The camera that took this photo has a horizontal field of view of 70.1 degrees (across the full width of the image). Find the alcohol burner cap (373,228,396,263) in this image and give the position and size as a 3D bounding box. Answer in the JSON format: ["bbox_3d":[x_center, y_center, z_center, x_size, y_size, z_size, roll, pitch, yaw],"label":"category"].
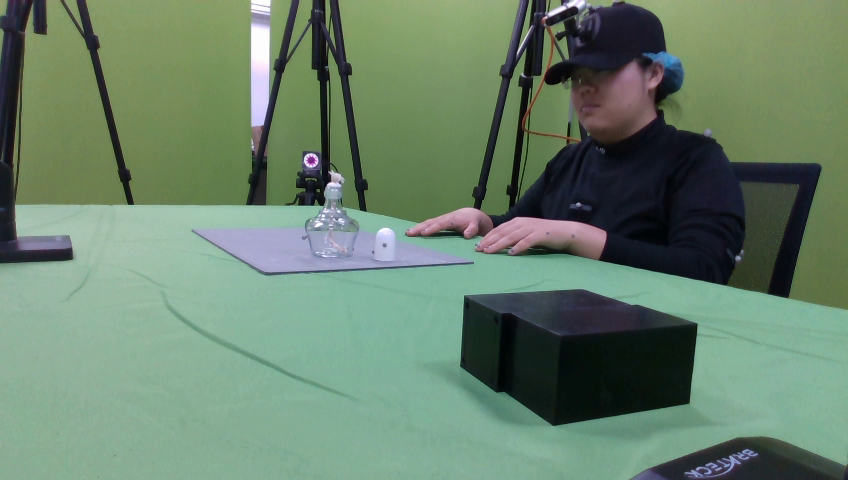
[{"bbox_3d":[-0.054,0.007,0.836,0.034,0.048,0.034,3,7,0],"label":"alcohol burner cap"}]

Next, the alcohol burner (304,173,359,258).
[{"bbox_3d":[-0.129,-0.035,0.852,0.078,0.119,0.078,2,5,0],"label":"alcohol burner"}]
